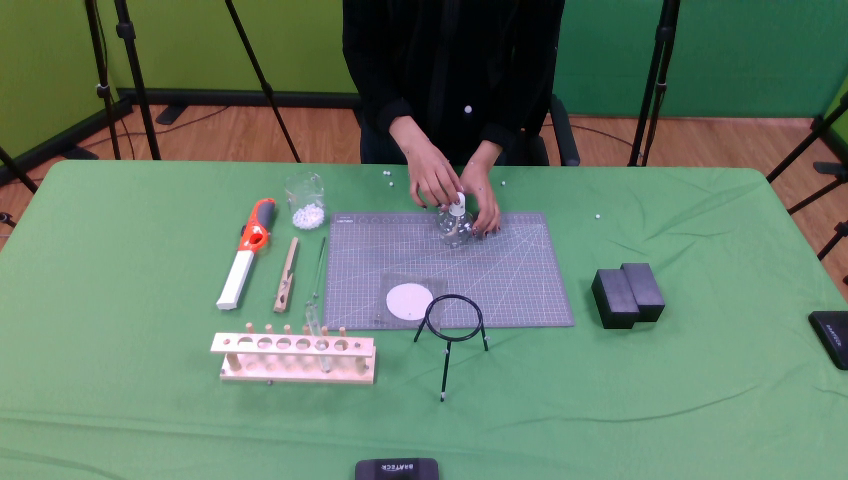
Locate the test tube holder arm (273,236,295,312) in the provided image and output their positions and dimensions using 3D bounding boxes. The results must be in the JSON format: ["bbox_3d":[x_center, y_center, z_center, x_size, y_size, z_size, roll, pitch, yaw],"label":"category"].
[{"bbox_3d":[-0.259,0.059,1.123,0.013,0.015,0.177,27,39,-26],"label":"test tube holder arm"}]

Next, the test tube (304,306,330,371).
[{"bbox_3d":[-0.162,0.153,0.925,0.017,0.151,0.017,-2,44,2],"label":"test tube"}]

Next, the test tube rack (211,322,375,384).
[{"bbox_3d":[-0.202,0.176,0.969,0.242,0.085,0.066,3,46,-2],"label":"test tube rack"}]

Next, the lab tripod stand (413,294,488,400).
[{"bbox_3d":[0.044,0.159,0.972,0.148,0.132,0.147,2,44,-2],"label":"lab tripod stand"}]

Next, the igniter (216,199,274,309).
[{"bbox_3d":[-0.336,0.017,1.153,0.057,0.025,0.275,-2,45,8],"label":"igniter"}]

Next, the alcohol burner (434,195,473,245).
[{"bbox_3d":[0.060,-0.046,1.182,0.078,0.119,0.077,3,47,-3],"label":"alcohol burner"}]

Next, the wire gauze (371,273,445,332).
[{"bbox_3d":[-0.028,0.108,1.100,0.125,0.011,0.121,7,45,4],"label":"wire gauze"}]

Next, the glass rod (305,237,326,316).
[{"bbox_3d":[-0.202,0.063,1.131,0.008,0.008,0.198,3,44,0],"label":"glass rod"}]

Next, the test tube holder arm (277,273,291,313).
[{"bbox_3d":[-0.254,0.093,1.094,0.010,0.015,0.087,28,39,-26],"label":"test tube holder arm"}]

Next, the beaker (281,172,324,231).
[{"bbox_3d":[-0.234,-0.073,1.199,0.084,0.101,0.074,24,49,17],"label":"beaker"}]

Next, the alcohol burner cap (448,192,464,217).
[{"bbox_3d":[0.062,-0.071,1.155,0.034,0.048,0.033,0,50,0],"label":"alcohol burner cap"}]
